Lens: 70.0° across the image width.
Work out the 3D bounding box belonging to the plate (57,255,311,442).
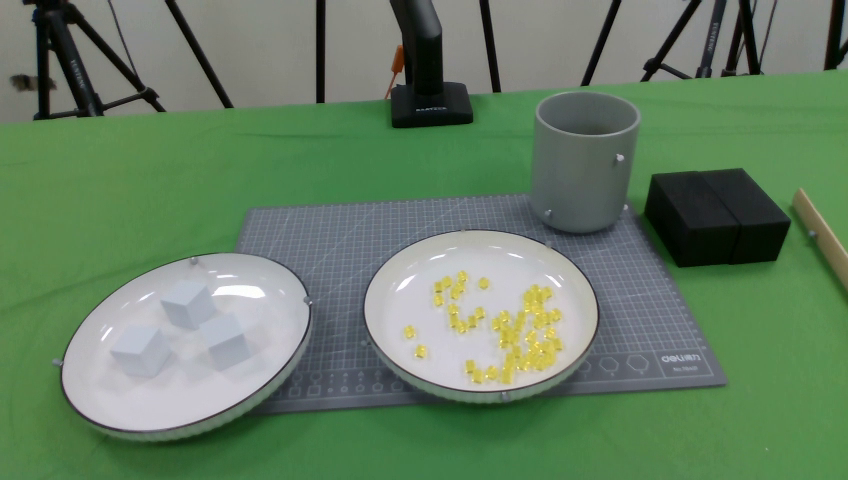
[{"bbox_3d":[-0.201,0.091,0.531,0.209,0.038,0.207,-3,38,2],"label":"plate"}]

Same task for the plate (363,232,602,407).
[{"bbox_3d":[0.051,0.069,0.545,0.207,0.039,0.205,-1,38,2],"label":"plate"}]

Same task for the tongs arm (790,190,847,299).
[{"bbox_3d":[0.410,0.071,0.535,0.028,0.028,0.384,2,38,3],"label":"tongs arm"}]

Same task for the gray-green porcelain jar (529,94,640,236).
[{"bbox_3d":[0.168,-0.077,0.652,0.106,0.127,0.105,-2,38,2],"label":"gray-green porcelain jar"}]
